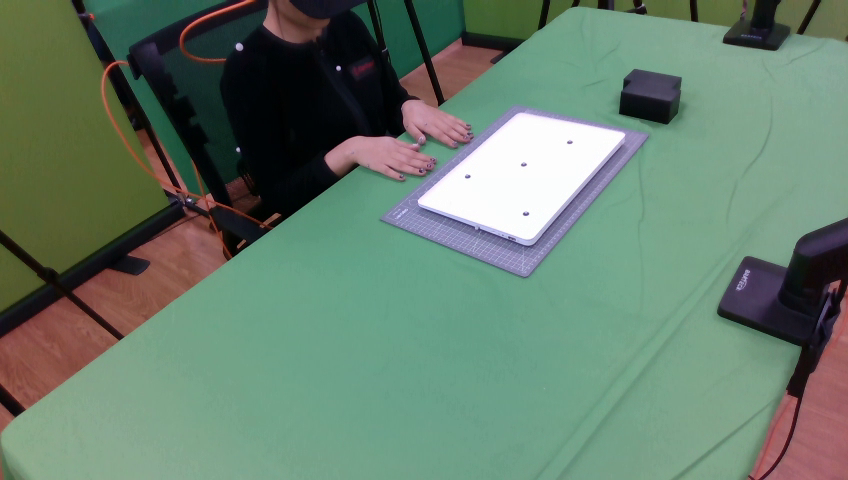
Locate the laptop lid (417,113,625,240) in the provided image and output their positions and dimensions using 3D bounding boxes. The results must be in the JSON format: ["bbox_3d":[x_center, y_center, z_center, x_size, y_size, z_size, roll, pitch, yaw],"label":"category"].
[{"bbox_3d":[0.180,-0.132,1.088,0.239,0.013,0.358,22,49,34],"label":"laptop lid"}]

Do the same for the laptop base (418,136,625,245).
[{"bbox_3d":[0.183,-0.123,1.094,0.233,0.023,0.355,19,47,34],"label":"laptop base"}]
